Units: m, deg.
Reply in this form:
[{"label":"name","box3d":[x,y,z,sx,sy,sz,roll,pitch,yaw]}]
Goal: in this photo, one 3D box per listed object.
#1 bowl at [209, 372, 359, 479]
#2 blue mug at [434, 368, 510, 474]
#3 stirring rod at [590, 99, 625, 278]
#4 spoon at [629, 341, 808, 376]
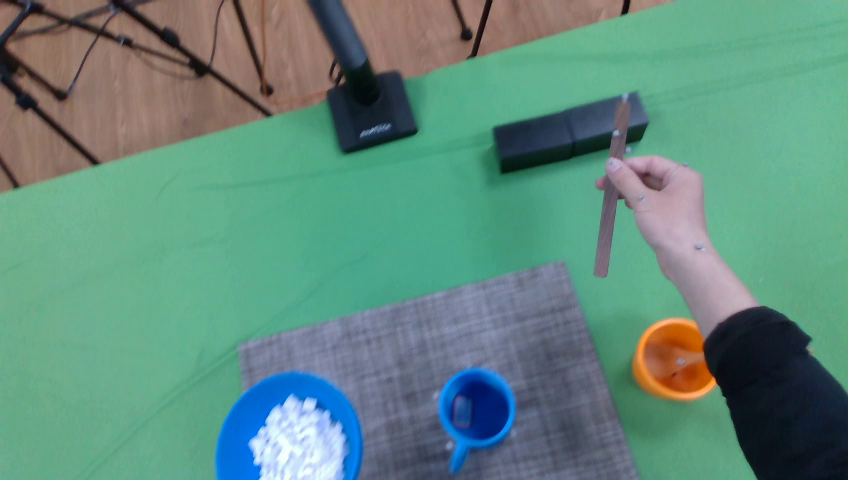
[{"label":"bowl","box3d":[-0.128,0.216,0.616,0.151,0.077,0.150,-5,68,12]},{"label":"blue mug","box3d":[0.050,0.211,0.692,0.082,0.106,0.116,22,74,14]},{"label":"stirring rod","box3d":[0.181,-0.050,0.598,0.014,0.006,0.176,7,98,15]},{"label":"spoon","box3d":[0.317,0.128,0.672,0.022,0.193,0.041,21,67,-33]}]
